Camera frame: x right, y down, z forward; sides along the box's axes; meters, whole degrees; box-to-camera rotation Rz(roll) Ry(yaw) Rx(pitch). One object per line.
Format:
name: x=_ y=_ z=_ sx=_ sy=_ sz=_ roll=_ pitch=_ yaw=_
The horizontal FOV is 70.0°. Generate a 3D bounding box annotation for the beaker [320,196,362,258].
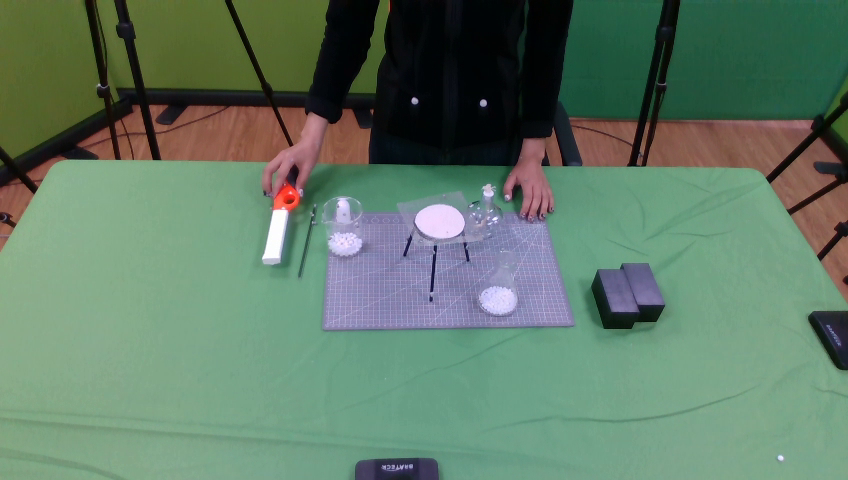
beaker: x=-0.156 y=-0.020 z=1.150 sx=0.084 sy=0.101 sz=0.073 roll=-30 pitch=55 yaw=-28

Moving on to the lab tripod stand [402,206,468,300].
lab tripod stand: x=0.023 y=0.013 z=1.108 sx=0.148 sy=0.132 sz=0.147 roll=3 pitch=44 yaw=-2

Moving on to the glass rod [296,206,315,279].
glass rod: x=-0.232 y=0.001 z=1.191 sx=0.008 sy=0.008 sz=0.198 roll=3 pitch=46 yaw=-1

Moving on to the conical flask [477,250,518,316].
conical flask: x=0.136 y=0.072 z=1.067 sx=0.075 sy=0.122 sz=0.075 roll=2 pitch=46 yaw=-2

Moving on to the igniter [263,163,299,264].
igniter: x=-0.284 y=-0.061 z=1.210 sx=0.057 sy=0.025 sz=0.274 roll=-1 pitch=47 yaw=-1

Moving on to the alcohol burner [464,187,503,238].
alcohol burner: x=0.120 y=-0.061 z=1.201 sx=0.078 sy=0.119 sz=0.077 roll=3 pitch=47 yaw=-3

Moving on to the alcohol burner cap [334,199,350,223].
alcohol burner cap: x=-0.167 y=-0.061 z=1.227 sx=0.034 sy=0.048 sz=0.033 roll=2 pitch=46 yaw=-2

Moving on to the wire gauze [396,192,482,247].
wire gauze: x=0.025 y=-0.036 z=1.061 sx=0.125 sy=0.011 sz=0.120 roll=-9 pitch=47 yaw=-14
